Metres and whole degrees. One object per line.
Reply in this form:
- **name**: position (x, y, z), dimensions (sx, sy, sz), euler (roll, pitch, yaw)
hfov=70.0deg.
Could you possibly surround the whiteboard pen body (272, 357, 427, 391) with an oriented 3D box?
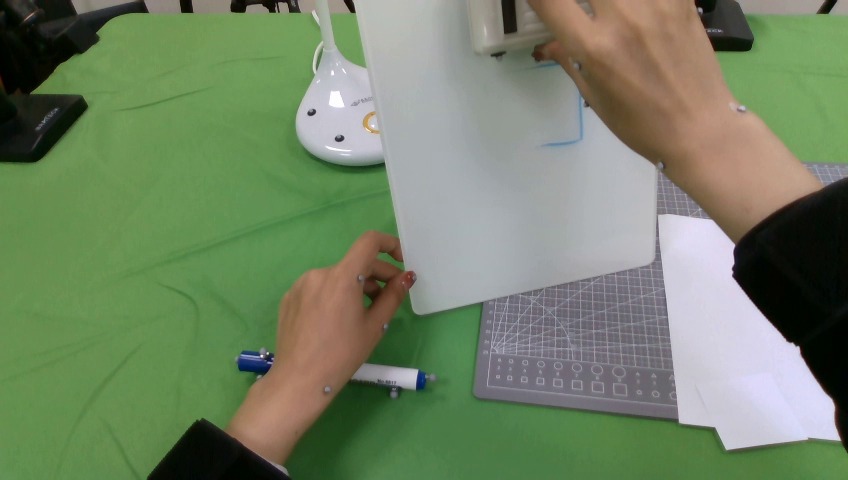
- **whiteboard pen body**: position (-0.068, 0.102, 0.466), dimensions (0.140, 0.017, 0.017), euler (4, 47, 7)

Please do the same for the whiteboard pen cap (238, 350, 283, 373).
- **whiteboard pen cap**: position (-0.127, 0.095, 0.475), dimensions (0.033, 0.018, 0.018), euler (4, 47, 6)

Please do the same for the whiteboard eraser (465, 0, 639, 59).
- **whiteboard eraser**: position (0.083, -0.156, 0.396), dimensions (0.113, 0.056, 0.041), euler (-13, 28, -7)

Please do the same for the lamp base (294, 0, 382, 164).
- **lamp base**: position (-0.082, -0.200, 0.648), dimensions (0.160, 0.182, 0.177), euler (-33, 50, -23)

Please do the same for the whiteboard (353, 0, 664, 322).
- **whiteboard**: position (0.064, -0.117, 0.509), dimensions (0.217, 0.308, 0.142), euler (-12, 27, -4)
